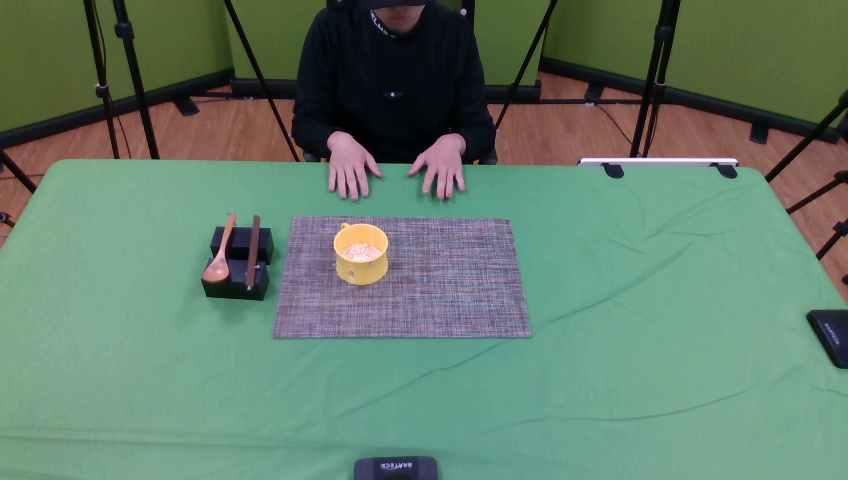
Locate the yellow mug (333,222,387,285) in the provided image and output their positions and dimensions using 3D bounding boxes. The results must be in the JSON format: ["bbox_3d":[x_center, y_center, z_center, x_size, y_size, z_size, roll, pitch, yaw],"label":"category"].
[{"bbox_3d":[-0.127,0.016,1.139,0.100,0.064,0.130,-23,51,-25],"label":"yellow mug"}]

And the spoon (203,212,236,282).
[{"bbox_3d":[-0.361,0.009,1.097,0.041,0.022,0.192,-1,44,-2],"label":"spoon"}]

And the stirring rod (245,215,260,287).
[{"bbox_3d":[-0.310,0.016,1.096,0.014,0.006,0.175,27,36,-32],"label":"stirring rod"}]
